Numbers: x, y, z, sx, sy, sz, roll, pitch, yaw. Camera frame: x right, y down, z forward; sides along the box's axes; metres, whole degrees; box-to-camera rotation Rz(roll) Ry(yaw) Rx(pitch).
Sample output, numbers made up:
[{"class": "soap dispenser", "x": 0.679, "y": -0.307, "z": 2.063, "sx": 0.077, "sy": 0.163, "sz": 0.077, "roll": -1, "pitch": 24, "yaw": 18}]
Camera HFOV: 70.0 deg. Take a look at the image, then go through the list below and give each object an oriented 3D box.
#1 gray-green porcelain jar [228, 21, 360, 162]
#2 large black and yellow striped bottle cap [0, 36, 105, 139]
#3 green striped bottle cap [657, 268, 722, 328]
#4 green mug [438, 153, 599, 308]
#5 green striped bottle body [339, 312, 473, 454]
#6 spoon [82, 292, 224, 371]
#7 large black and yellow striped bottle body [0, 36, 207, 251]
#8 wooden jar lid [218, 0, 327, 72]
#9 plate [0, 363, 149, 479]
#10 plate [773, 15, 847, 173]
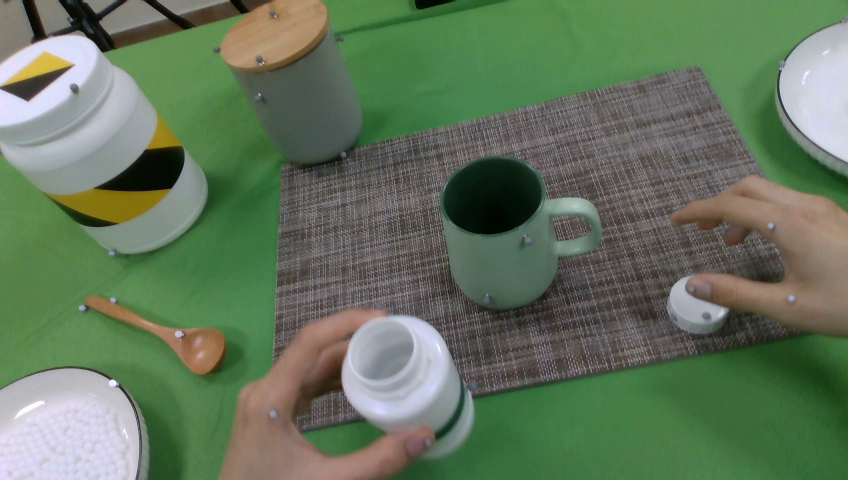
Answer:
[{"class": "gray-green porcelain jar", "x": -0.128, "y": -0.153, "z": 0.624, "sx": 0.106, "sy": 0.128, "sz": 0.105, "roll": -7, "pitch": 51, "yaw": 9}, {"class": "large black and yellow striped bottle cap", "x": -0.332, "y": -0.134, "z": 0.522, "sx": 0.115, "sy": 0.019, "sz": 0.114, "roll": -6, "pitch": 54, "yaw": 9}, {"class": "green striped bottle cap", "x": 0.204, "y": 0.044, "z": 0.468, "sx": 0.044, "sy": 0.020, "sz": 0.044, "roll": 0, "pitch": 66, "yaw": 0}, {"class": "green mug", "x": 0.075, "y": -0.007, "z": 0.484, "sx": 0.125, "sy": 0.106, "sz": 0.091, "roll": -5, "pitch": 54, "yaw": 11}, {"class": "green striped bottle body", "x": -0.010, "y": 0.086, "z": 0.367, "sx": 0.063, "sy": 0.120, "sz": 0.062, "roll": -7, "pitch": 58, "yaw": 12}, {"class": "spoon", "x": -0.256, "y": 0.076, "z": 0.562, "sx": 0.192, "sy": 0.022, "sz": 0.041, "roll": 16, "pitch": 80, "yaw": 23}, {"class": "large black and yellow striped bottle body", "x": -0.314, "y": -0.088, "z": 0.590, "sx": 0.130, "sy": 0.186, "sz": 0.129, "roll": -6, "pitch": 55, "yaw": 9}, {"class": "wooden jar lid", "x": -0.141, "y": -0.192, "z": 0.576, "sx": 0.108, "sy": 0.021, "sz": 0.107, "roll": -9, "pitch": 53, "yaw": 12}, {"class": "plate", "x": -0.312, "y": 0.200, "z": 0.480, "sx": 0.209, "sy": 0.038, "sz": 0.207, "roll": -6, "pitch": 54, "yaw": 9}, {"class": "plate", "x": 0.417, "y": -0.121, "z": 0.526, "sx": 0.207, "sy": 0.039, "sz": 0.205, "roll": -7, "pitch": 55, "yaw": 10}]
